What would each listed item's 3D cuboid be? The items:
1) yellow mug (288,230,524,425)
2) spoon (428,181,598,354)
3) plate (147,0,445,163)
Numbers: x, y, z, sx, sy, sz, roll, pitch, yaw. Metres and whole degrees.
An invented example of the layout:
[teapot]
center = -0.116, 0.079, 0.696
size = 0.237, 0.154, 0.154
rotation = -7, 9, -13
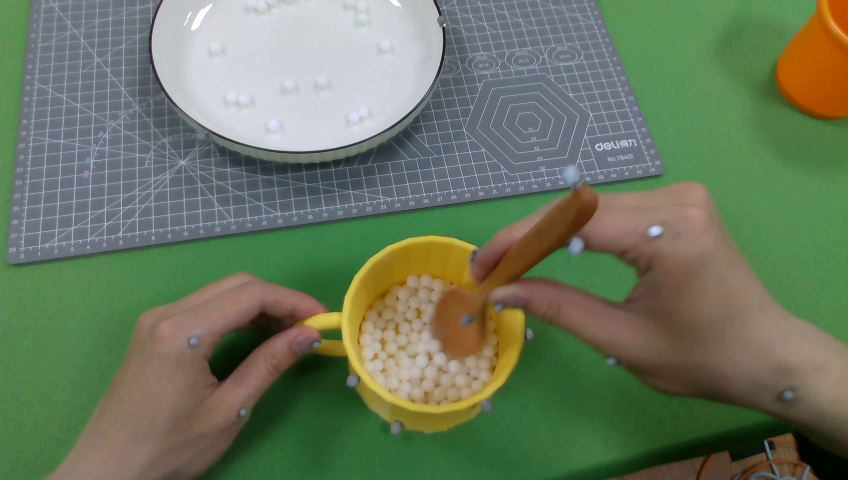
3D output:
[yellow mug]
center = -0.013, 0.052, 0.350
size = 0.131, 0.064, 0.099
rotation = -1, 66, -4
[spoon]
center = 0.032, 0.021, 0.285
size = 0.022, 0.194, 0.041
rotation = -20, 75, -17
[plate]
center = -0.089, -0.141, 0.444
size = 0.208, 0.039, 0.206
rotation = 2, 65, -4
